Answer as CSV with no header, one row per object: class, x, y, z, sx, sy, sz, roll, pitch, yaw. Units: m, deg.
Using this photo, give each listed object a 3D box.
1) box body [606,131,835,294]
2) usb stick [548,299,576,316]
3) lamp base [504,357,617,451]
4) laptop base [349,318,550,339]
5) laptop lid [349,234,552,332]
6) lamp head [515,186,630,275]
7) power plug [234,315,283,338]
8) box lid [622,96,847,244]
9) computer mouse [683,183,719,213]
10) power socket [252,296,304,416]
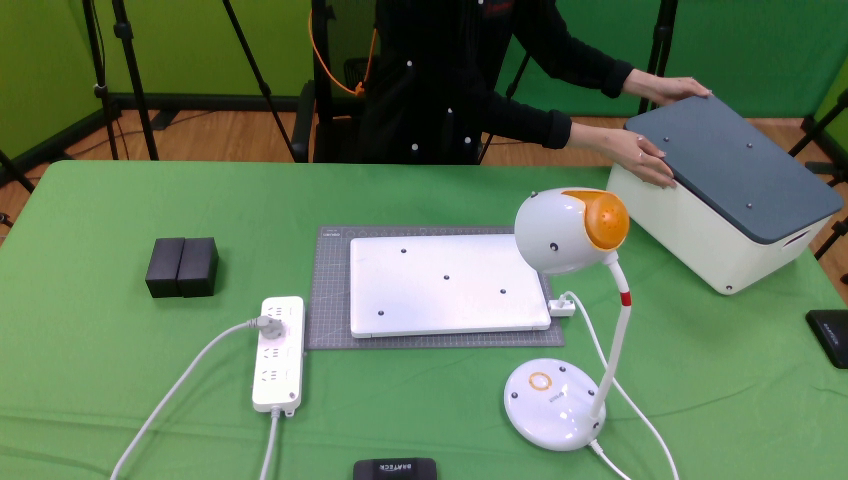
box body,0.582,-0.088,1.230,0.254,0.161,0.361,-22,52,-23
usb stick,0.239,0.121,1.084,0.059,0.027,0.021,-1,51,-1
lamp base,0.220,0.211,0.903,0.160,0.181,0.178,-33,59,-30
laptop base,0.039,0.081,1.124,0.355,0.023,0.234,-2,43,-6
laptop lid,0.040,0.071,1.118,0.357,0.013,0.240,0,44,-5
lamp head,0.188,-0.013,0.728,0.112,0.112,0.122,-25,9,-25
power plug,-0.269,0.143,1.000,0.072,0.053,0.035,4,47,3
box lid,0.589,-0.149,1.164,0.263,0.015,0.369,-20,54,-24
computer mouse,0.596,-0.078,1.290,0.117,0.041,0.062,56,46,-7
power socket,-0.238,0.181,0.997,0.072,0.033,0.225,-3,47,-5
